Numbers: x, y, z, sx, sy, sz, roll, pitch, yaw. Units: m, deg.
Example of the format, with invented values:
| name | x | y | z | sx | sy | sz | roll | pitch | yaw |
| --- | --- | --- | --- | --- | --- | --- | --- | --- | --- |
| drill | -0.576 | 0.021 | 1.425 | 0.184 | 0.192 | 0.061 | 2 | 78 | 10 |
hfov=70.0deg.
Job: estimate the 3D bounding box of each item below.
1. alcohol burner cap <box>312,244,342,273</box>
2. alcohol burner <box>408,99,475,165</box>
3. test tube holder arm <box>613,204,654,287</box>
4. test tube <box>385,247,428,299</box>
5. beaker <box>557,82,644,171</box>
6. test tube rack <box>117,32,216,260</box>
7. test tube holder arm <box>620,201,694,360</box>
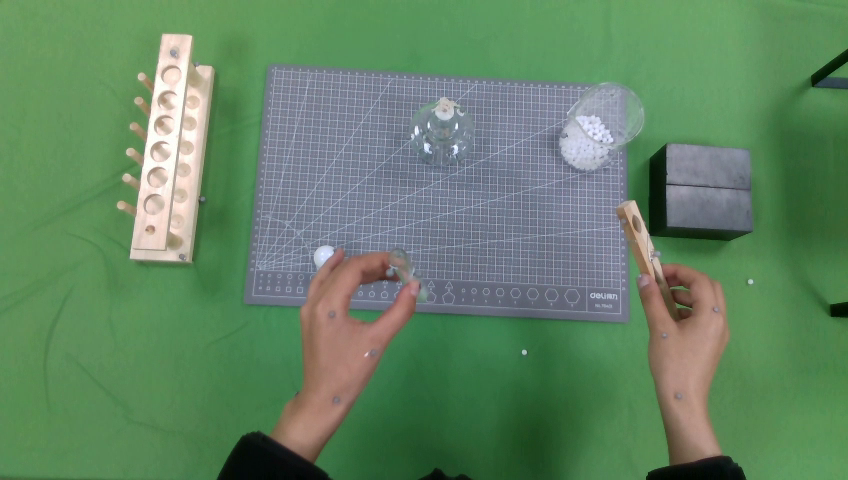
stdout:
| name | x | y | z | sx | sy | sz | roll | pitch | yaw |
| --- | --- | --- | --- | --- | --- | --- | --- | --- | --- |
| alcohol burner cap | -0.113 | 0.019 | 0.690 | 0.034 | 0.048 | 0.033 | 1 | 79 | -3 |
| alcohol burner | 0.020 | -0.130 | 0.689 | 0.078 | 0.119 | 0.077 | 0 | 79 | 0 |
| test tube holder arm | 0.205 | 0.006 | 0.583 | 0.010 | 0.015 | 0.088 | -30 | 104 | -12 |
| test tube | -0.012 | 0.032 | 0.524 | 0.017 | 0.151 | 0.017 | -2 | 75 | 7 |
| beaker | 0.198 | -0.127 | 0.704 | 0.084 | 0.100 | 0.073 | 2 | 78 | -1 |
| test tube rack | -0.295 | -0.104 | 0.686 | 0.067 | 0.085 | 0.241 | 3 | 79 | -2 |
| test tube holder arm | 0.230 | 0.042 | 0.595 | 0.013 | 0.015 | 0.179 | -31 | 104 | -12 |
